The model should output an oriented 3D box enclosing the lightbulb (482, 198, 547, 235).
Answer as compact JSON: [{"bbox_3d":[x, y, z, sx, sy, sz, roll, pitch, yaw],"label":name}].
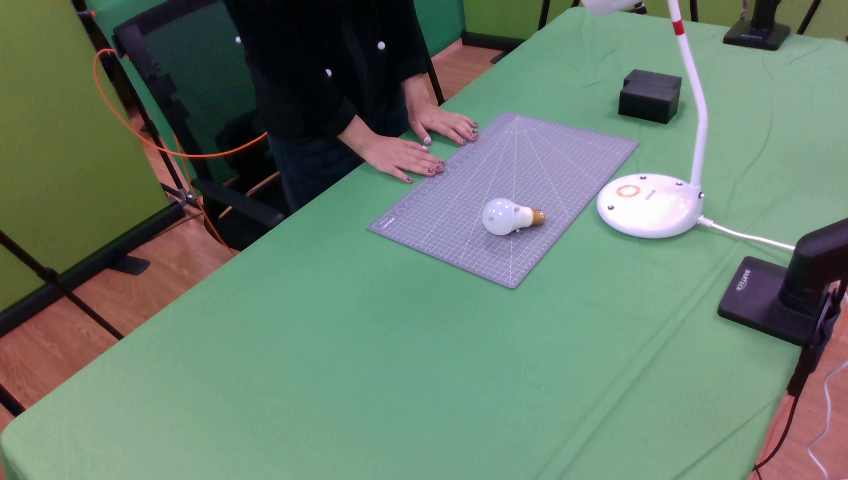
[{"bbox_3d":[0.147,-0.037,0.974,0.108,0.059,0.059,1,39,-12],"label":"lightbulb"}]

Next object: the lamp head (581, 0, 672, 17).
[{"bbox_3d":[0.261,-0.338,0.738,0.122,0.113,0.112,9,42,42],"label":"lamp head"}]

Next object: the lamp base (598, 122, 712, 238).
[{"bbox_3d":[0.365,-0.113,0.925,0.178,0.181,0.161,20,48,26],"label":"lamp base"}]
